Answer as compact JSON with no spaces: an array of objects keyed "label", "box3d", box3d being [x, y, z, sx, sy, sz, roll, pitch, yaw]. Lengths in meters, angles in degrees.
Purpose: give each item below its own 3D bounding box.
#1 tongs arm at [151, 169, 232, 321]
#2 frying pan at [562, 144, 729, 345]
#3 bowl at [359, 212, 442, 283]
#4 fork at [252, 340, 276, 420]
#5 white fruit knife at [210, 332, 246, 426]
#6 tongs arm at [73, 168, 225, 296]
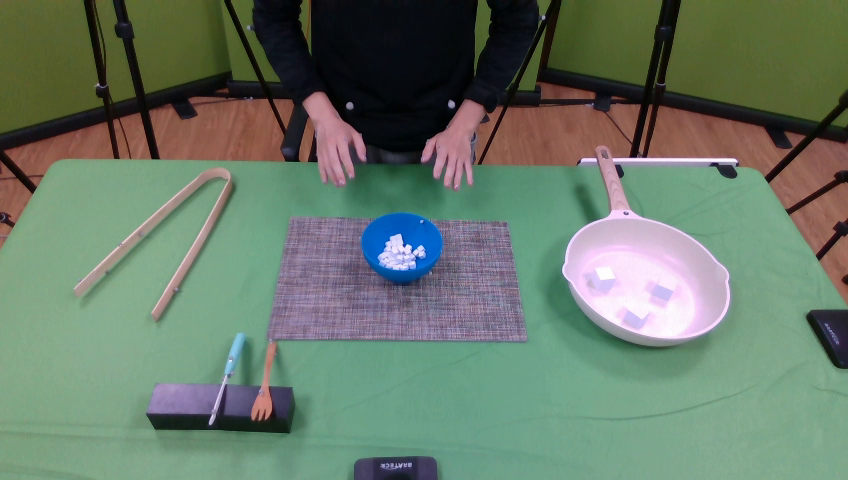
[{"label":"tongs arm","box3d":[-0.437,-0.004,1.163,0.028,0.028,0.385,6,46,5]},{"label":"frying pan","box3d":[0.396,-0.008,1.179,0.307,0.103,0.484,1,55,-4]},{"label":"bowl","box3d":[-0.044,0.026,1.125,0.151,0.077,0.150,2,46,-2]},{"label":"fork","box3d":[-0.242,0.211,0.932,0.028,0.019,0.206,-8,27,-5]},{"label":"white fruit knife","box3d":[-0.301,0.206,0.930,0.016,0.027,0.206,5,29,-7]},{"label":"tongs arm","box3d":[-0.515,-0.026,1.172,0.050,0.026,0.383,18,46,11]}]
